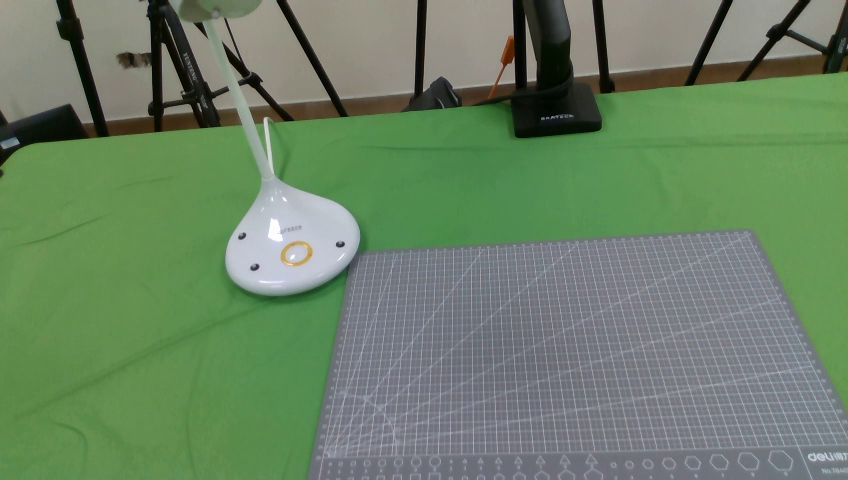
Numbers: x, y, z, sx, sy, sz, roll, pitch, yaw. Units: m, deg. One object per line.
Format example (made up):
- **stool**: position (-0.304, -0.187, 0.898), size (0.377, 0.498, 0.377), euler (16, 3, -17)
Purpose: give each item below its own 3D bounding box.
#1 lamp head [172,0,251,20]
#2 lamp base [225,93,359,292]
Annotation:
- **lamp head**: position (-0.171, -0.248, 0.462), size (0.112, 0.123, 0.112), euler (-34, 5, 4)
- **lamp base**: position (-0.172, -0.061, 0.678), size (0.161, 0.182, 0.177), euler (-24, 42, -16)
